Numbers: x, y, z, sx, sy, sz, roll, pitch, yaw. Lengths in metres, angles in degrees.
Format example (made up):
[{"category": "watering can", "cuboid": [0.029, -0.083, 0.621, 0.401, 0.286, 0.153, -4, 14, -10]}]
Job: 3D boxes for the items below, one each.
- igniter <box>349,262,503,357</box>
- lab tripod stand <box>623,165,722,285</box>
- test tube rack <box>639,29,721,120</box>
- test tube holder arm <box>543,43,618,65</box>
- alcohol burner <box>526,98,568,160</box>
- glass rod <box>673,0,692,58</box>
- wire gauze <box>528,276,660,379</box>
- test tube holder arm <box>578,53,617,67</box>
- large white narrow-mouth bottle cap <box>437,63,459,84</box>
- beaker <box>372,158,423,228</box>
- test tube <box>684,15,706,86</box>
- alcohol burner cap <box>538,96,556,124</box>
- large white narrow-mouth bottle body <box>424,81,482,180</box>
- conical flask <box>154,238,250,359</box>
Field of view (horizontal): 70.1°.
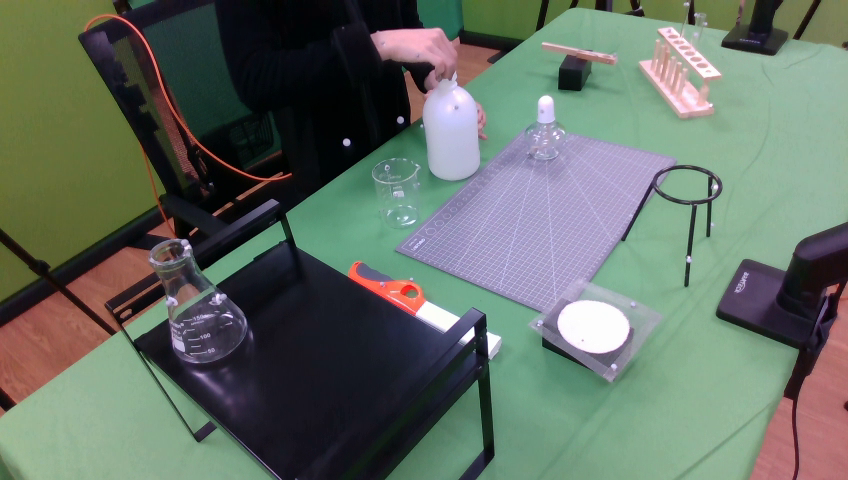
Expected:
[{"category": "igniter", "cuboid": [-0.008, 0.093, 0.870, 0.274, 0.025, 0.057, 24, 60, 33]}, {"category": "lab tripod stand", "cuboid": [0.365, -0.030, 0.874, 0.148, 0.132, 0.147, -6, 41, 6]}, {"category": "test tube rack", "cuboid": [0.527, -0.351, 1.262, 0.067, 0.085, 0.241, -7, 40, 1]}, {"category": "test tube holder arm", "cuboid": [0.344, -0.413, 1.340, 0.177, 0.015, 0.013, 25, 51, 31]}, {"category": "alcohol burner", "cuboid": [0.228, -0.210, 1.118, 0.078, 0.119, 0.077, -5, 43, 5]}, {"category": "glass rod", "cuboid": [0.537, -0.437, 1.258, 0.008, 0.200, 0.008, 0, 39, 1]}, {"category": "wire gauze", "cuboid": [0.213, 0.103, 0.763, 0.124, 0.011, 0.122, 30, 52, 35]}, {"category": "test tube holder arm", "cuboid": [0.376, -0.393, 1.314, 0.087, 0.015, 0.010, 26, 51, 32]}, {"category": "large white narrow-mouth bottle cap", "cuboid": [0.041, -0.283, 1.027, 0.038, 0.024, 0.037, -4, 41, 4]}, {"category": "beaker", "cuboid": [-0.039, -0.078, 1.022, 0.084, 0.101, 0.073, -16, 41, -11]}, {"category": "test tube", "cuboid": [0.541, -0.378, 1.215, 0.017, 0.151, 0.017, -2, 44, 3]}, {"category": "alcohol burner cap", "cuboid": [0.222, -0.237, 1.095, 0.034, 0.048, 0.033, -7, 34, 5]}, {"category": "large white narrow-mouth bottle body", "cuboid": [0.051, -0.212, 1.090, 0.102, 0.195, 0.101, -4, 41, 4]}, {"category": "conical flask", "cuboid": [-0.225, 0.055, 0.597, 0.075, 0.122, 0.075, -5, 41, 4]}]
